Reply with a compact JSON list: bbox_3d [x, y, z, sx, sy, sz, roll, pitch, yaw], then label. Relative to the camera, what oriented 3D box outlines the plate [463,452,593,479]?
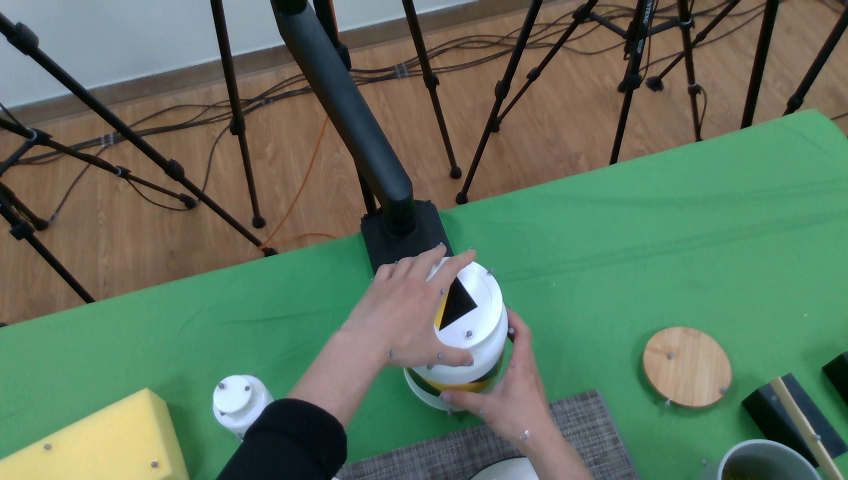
[{"bbox_3d":[0.118,0.343,0.666,0.209,0.038,0.207,-1,58,2],"label":"plate"}]

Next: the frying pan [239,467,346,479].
[{"bbox_3d":[-0.082,0.449,0.571,0.307,0.104,0.483,-37,55,-17],"label":"frying pan"}]

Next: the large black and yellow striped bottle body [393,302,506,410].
[{"bbox_3d":[0.032,0.116,0.731,0.131,0.185,0.129,-2,57,3],"label":"large black and yellow striped bottle body"}]

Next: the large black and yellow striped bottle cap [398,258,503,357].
[{"bbox_3d":[0.028,0.071,0.658,0.115,0.019,0.114,-2,56,3],"label":"large black and yellow striped bottle cap"}]

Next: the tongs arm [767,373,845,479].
[{"bbox_3d":[0.492,0.312,0.637,0.051,0.027,0.381,-19,69,-11],"label":"tongs arm"}]

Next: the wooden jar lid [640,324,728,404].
[{"bbox_3d":[0.334,0.161,0.784,0.108,0.021,0.107,-1,59,2],"label":"wooden jar lid"}]

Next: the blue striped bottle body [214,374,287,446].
[{"bbox_3d":[-0.209,0.202,0.727,0.063,0.122,0.062,-1,58,2],"label":"blue striped bottle body"}]

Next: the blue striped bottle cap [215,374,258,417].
[{"bbox_3d":[-0.212,0.175,0.683,0.044,0.021,0.044,-3,56,5],"label":"blue striped bottle cap"}]

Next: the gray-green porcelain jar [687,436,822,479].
[{"bbox_3d":[0.344,0.278,0.647,0.106,0.127,0.105,-1,58,2],"label":"gray-green porcelain jar"}]

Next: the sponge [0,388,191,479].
[{"bbox_3d":[-0.402,0.283,0.722,0.207,0.061,0.117,-27,60,-14],"label":"sponge"}]
